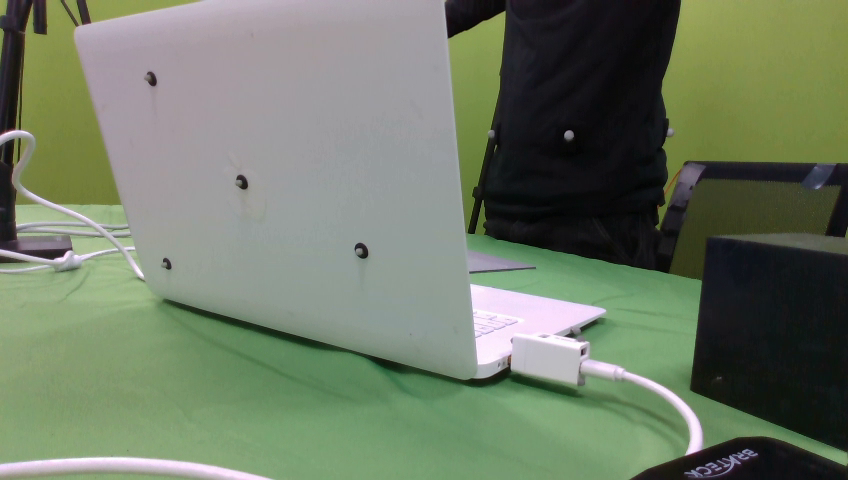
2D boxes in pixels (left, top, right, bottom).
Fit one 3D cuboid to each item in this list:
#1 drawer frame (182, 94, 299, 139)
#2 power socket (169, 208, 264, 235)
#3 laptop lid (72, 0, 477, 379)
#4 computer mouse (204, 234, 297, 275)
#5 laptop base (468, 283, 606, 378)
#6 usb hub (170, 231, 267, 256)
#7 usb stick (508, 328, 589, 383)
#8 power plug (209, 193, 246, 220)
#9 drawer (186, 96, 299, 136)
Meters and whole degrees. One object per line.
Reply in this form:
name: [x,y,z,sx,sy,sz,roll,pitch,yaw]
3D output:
drawer frame: [-0.418,-0.276,1.371,0.203,0.082,0.212,-4,9,-36]
power socket: [-0.381,-0.038,1.128,0.072,0.032,0.227,4,8,16]
laptop lid: [-0.125,-0.042,0.418,0.355,0.241,0.013,9,25,34]
computer mouse: [-0.212,0.016,0.747,0.062,0.041,0.117,7,13,22]
laptop base: [-0.042,0.058,0.554,0.352,0.023,0.237,7,7,35]
usb hub: [-0.290,0.004,0.862,0.049,0.025,0.126,10,11,42]
usb stick: [0.072,0.072,0.383,0.059,0.027,0.021,2,2,34]
power plug: [-0.388,-0.067,1.205,0.072,0.052,0.035,3,8,26]
drawer: [-0.415,-0.276,1.370,0.195,0.073,0.210,-4,9,-35]
